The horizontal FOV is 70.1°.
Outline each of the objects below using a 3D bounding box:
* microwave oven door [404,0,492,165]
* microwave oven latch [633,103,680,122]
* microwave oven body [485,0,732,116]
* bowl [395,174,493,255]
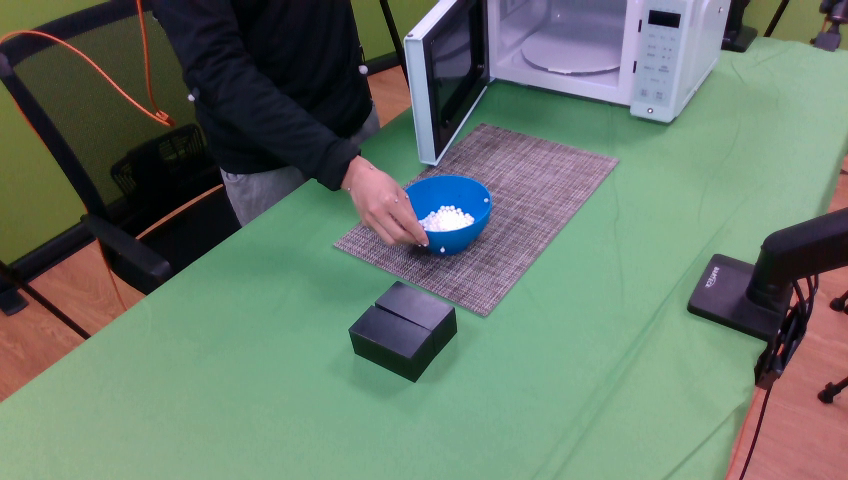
[{"bbox_3d":[0.058,-0.343,1.165,0.039,0.245,0.356,10,43,20],"label":"microwave oven door"},{"bbox_3d":[0.443,-0.249,1.157,0.078,0.029,0.030,21,48,30],"label":"microwave oven latch"},{"bbox_3d":[0.377,-0.462,1.267,0.438,0.261,0.327,21,48,30],"label":"microwave oven body"},{"bbox_3d":[0.033,-0.030,0.949,0.151,0.077,0.150,-4,39,4],"label":"bowl"}]
